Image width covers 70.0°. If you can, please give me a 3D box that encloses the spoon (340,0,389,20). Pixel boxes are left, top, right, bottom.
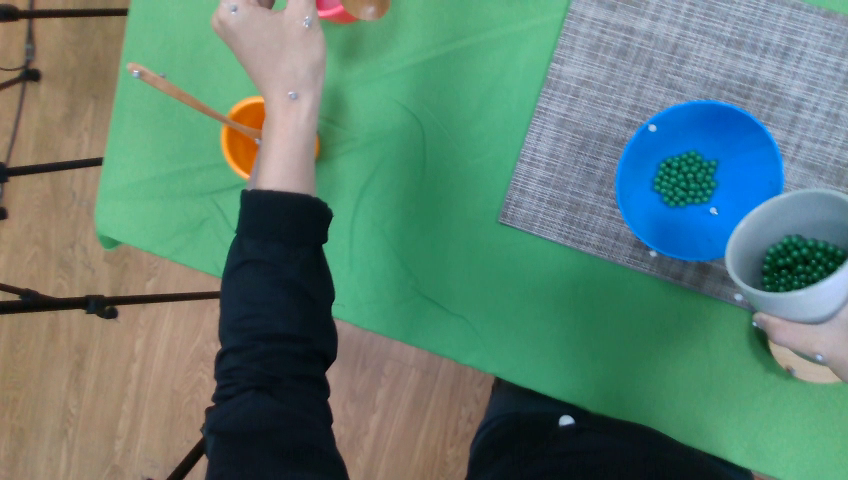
[{"bbox_3d":[-0.086,-0.225,0.493,0.041,0.194,0.021,-37,75,21],"label":"spoon"}]

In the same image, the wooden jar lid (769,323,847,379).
[{"bbox_3d":[0.418,0.092,0.632,0.108,0.020,0.109,3,105,13],"label":"wooden jar lid"}]

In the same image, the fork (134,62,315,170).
[{"bbox_3d":[-0.206,-0.129,0.647,0.209,0.018,0.028,27,119,-39],"label":"fork"}]

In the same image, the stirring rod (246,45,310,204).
[{"bbox_3d":[-0.155,-0.119,0.638,0.014,0.006,0.176,23,103,3],"label":"stirring rod"}]

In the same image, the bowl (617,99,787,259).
[{"bbox_3d":[0.266,-0.061,0.605,0.151,0.077,0.151,1,99,10],"label":"bowl"}]

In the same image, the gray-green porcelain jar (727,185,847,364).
[{"bbox_3d":[0.331,0.034,0.502,0.106,0.105,0.127,-42,118,14],"label":"gray-green porcelain jar"}]
